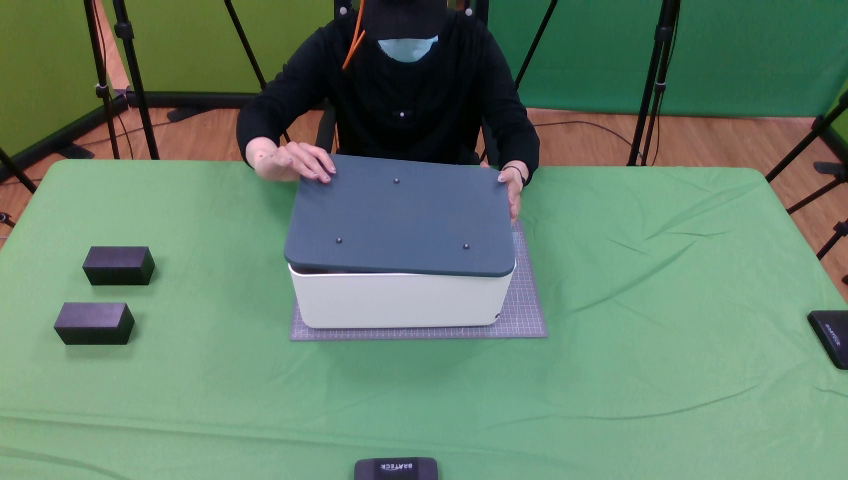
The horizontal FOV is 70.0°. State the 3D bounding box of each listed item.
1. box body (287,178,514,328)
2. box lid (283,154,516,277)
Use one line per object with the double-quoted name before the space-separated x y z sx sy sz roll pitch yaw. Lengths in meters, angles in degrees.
"box body" -0.040 0.015 1.075 0.364 0.161 0.252 -1 47 -4
"box lid" -0.032 -0.048 1.017 0.372 0.015 0.261 3 48 -2
